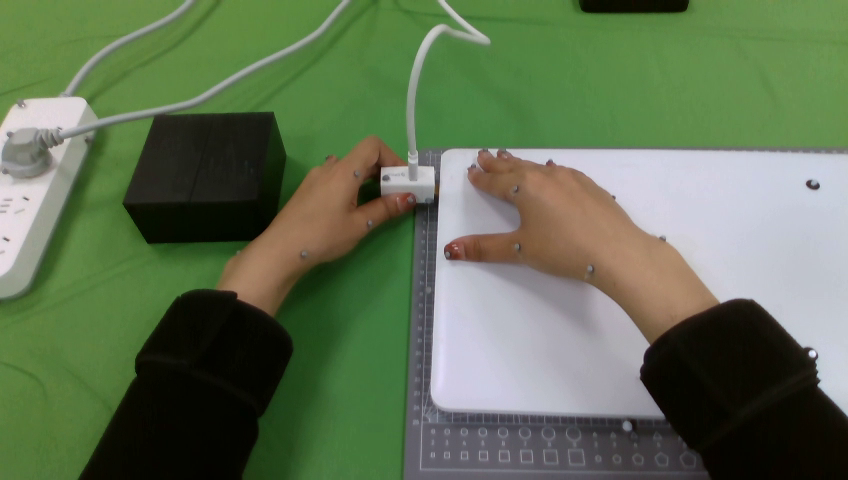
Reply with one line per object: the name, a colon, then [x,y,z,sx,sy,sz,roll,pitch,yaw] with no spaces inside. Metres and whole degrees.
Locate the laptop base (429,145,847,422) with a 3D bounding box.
laptop base: [0.184,0.022,0.457,0.354,0.023,0.233,1,56,2]

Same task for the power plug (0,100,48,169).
power plug: [-0.330,-0.090,0.483,0.053,0.073,0.035,10,35,-21]

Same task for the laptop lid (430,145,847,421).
laptop lid: [0.183,0.017,0.447,0.356,0.013,0.239,2,55,4]

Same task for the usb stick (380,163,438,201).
usb stick: [-0.007,-0.048,0.497,0.059,0.027,0.021,2,49,-6]

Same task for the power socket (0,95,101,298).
power socket: [-0.339,-0.045,0.512,0.072,0.033,0.224,-1,52,-1]
